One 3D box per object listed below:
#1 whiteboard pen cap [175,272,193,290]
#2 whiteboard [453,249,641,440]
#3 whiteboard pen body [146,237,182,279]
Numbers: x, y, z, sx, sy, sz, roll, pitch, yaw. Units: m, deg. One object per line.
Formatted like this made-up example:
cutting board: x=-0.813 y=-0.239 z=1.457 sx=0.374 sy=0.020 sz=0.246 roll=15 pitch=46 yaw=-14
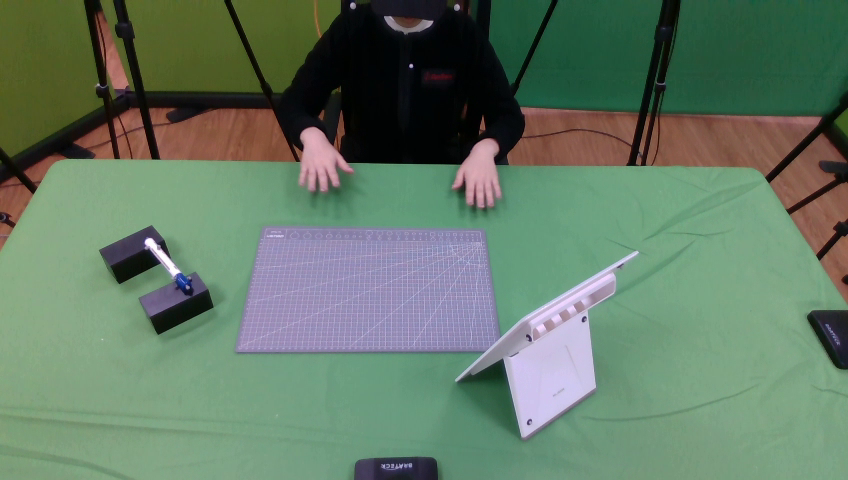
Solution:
whiteboard pen cap: x=-0.409 y=0.069 z=1.032 sx=0.018 sy=0.018 sz=0.033 roll=-32 pitch=56 yaw=-29
whiteboard: x=0.206 y=0.174 z=0.890 sx=0.217 sy=0.306 sz=0.143 roll=-25 pitch=72 yaw=-25
whiteboard pen body: x=-0.449 y=0.038 z=1.061 sx=0.017 sy=0.017 sz=0.140 roll=-33 pitch=57 yaw=-30
